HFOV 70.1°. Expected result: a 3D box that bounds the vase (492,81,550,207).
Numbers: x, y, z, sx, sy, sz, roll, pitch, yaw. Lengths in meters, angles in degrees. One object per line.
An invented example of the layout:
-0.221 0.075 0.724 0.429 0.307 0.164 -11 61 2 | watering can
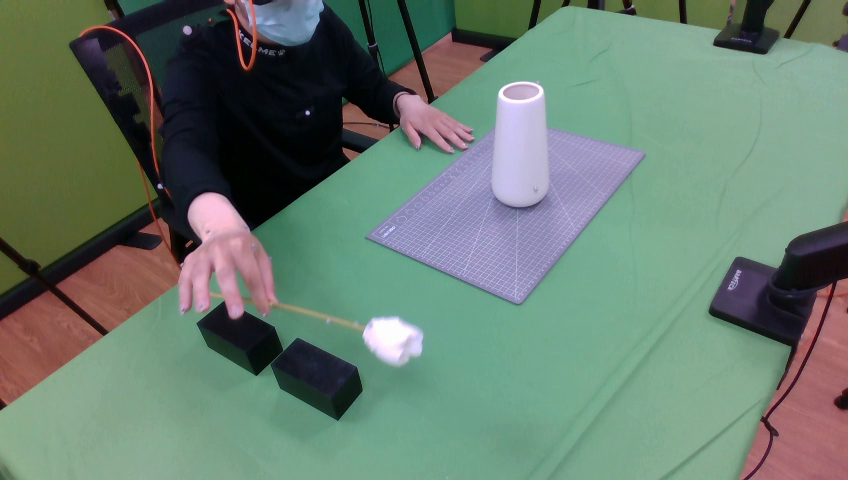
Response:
0.159 -0.151 0.982 0.098 0.201 0.097 -3 41 3 | vase

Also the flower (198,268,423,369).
-0.151 0.074 0.688 0.359 0.038 0.044 14 53 35 | flower
